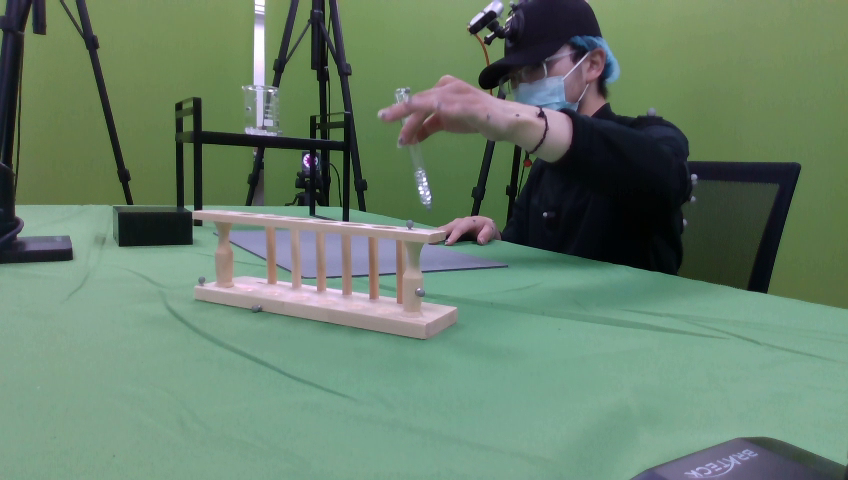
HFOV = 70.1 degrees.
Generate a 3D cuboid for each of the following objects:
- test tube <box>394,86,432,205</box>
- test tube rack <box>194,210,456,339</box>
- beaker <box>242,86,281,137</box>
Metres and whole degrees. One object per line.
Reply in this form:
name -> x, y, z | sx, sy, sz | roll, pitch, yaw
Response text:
test tube -> -0.014, -0.116, 0.740 | 0.017, 0.150, 0.017 | -13, -4, -1
test tube rack -> -0.093, 0.023, 0.546 | 0.241, 0.085, 0.067 | 6, 8, 25
beaker -> -0.338, -0.265, 1.252 | 0.073, 0.100, 0.084 | 8, 9, 38
